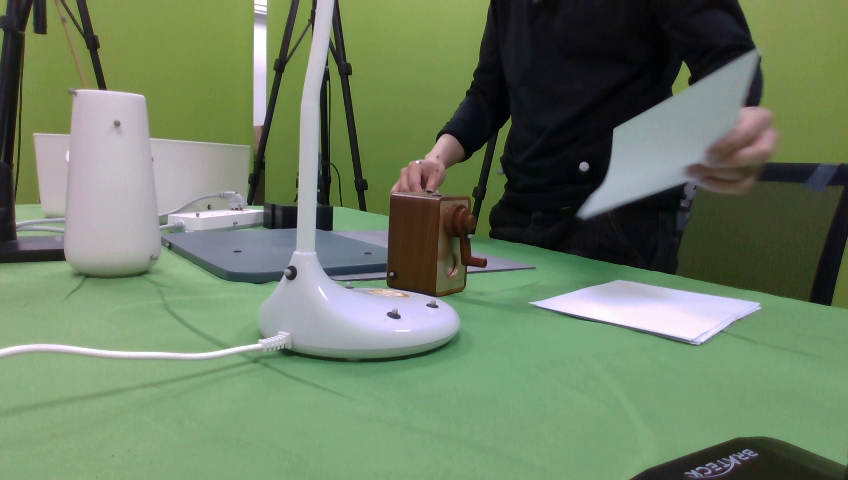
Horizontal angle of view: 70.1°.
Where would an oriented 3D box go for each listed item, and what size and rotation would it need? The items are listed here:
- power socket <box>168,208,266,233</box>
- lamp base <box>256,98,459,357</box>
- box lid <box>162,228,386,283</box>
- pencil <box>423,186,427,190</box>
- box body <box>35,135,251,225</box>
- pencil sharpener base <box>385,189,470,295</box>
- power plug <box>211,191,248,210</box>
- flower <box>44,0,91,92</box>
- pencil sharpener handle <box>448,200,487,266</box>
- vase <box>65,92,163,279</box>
[{"bbox_3d":[-0.379,-0.038,1.129,0.072,0.032,0.227,4,8,18],"label":"power socket"},{"bbox_3d":[-0.055,-0.013,0.463,0.160,0.180,0.180,6,11,27],"label":"lamp base"},{"bbox_3d":[-0.200,0.014,0.861,0.265,0.015,0.369,-4,9,-35],"label":"box lid"},{"bbox_3d":[0.007,-0.071,1.092,0.012,0.012,0.194,3,-11,4],"label":"pencil"},{"bbox_3d":[-0.559,-0.127,1.257,0.253,0.160,0.365,4,8,15],"label":"box body"},{"bbox_3d":[0.006,0.001,0.653,0.076,0.107,0.061,8,9,37],"label":"pencil sharpener base"},{"bbox_3d":[-0.384,-0.071,1.205,0.072,0.052,0.035,1,8,28],"label":"power plug"},{"bbox_3d":[-0.361,-0.142,0.663,0.044,0.361,0.038,-12,11,30],"label":"flower"},{"bbox_3d":[0.049,-0.006,0.623,0.030,0.068,0.036,8,22,37],"label":"pencil sharpener handle"},{"bbox_3d":[-0.347,-0.060,0.673,0.098,0.200,0.098,1,7,0],"label":"vase"}]
